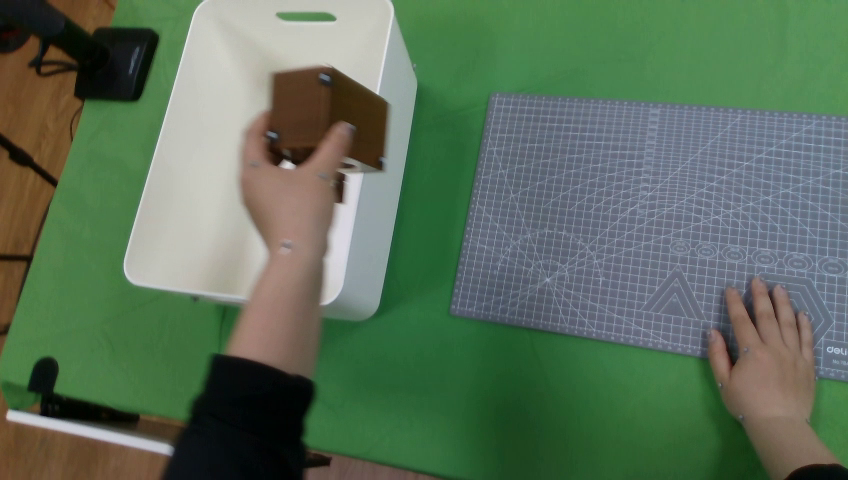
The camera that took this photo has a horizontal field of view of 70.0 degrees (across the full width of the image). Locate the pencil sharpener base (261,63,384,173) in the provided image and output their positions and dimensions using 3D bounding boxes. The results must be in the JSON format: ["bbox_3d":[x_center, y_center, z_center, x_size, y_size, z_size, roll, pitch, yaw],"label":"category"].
[{"bbox_3d":[-0.087,-0.100,0.539,0.061,0.108,0.076,0,85,26],"label":"pencil sharpener base"}]

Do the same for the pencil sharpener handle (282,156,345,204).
[{"bbox_3d":[-0.093,-0.051,0.523,0.036,0.068,0.030,-1,84,35],"label":"pencil sharpener handle"}]

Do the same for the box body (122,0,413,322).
[{"bbox_3d":[-0.167,-0.092,0.737,0.253,0.161,0.362,5,76,13],"label":"box body"}]
